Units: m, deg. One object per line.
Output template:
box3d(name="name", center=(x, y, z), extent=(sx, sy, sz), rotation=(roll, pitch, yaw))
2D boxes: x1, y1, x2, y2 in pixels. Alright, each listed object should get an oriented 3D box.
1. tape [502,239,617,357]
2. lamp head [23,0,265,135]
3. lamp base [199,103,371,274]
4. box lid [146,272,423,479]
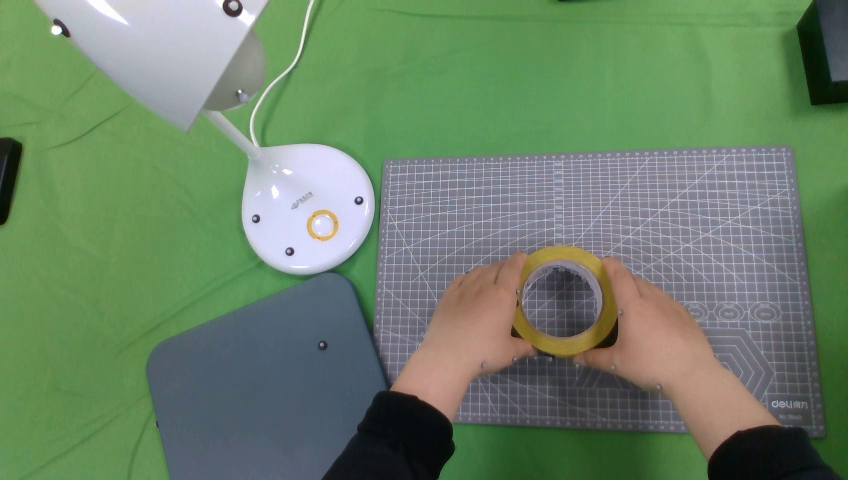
box3d(name="tape", center=(0.138, 0.060, 0.622), extent=(0.116, 0.053, 0.116), rotation=(-3, 74, 10))
box3d(name="lamp head", center=(-0.165, -0.138, 0.354), extent=(0.123, 0.112, 0.112), rotation=(30, 81, -18))
box3d(name="lamp base", center=(-0.164, -0.065, 0.644), extent=(0.178, 0.181, 0.160), rotation=(39, 85, 20))
box3d(name="box lid", center=(-0.146, 0.237, 0.651), extent=(0.263, 0.015, 0.369), rotation=(-23, 73, 4))
